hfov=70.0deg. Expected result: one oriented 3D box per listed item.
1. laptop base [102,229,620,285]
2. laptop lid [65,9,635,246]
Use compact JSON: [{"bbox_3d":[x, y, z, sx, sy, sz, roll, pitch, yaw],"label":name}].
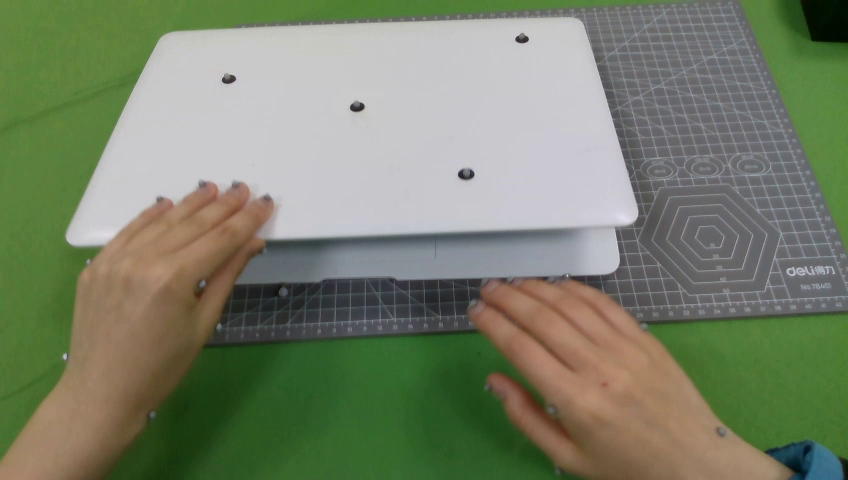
[{"bbox_3d":[-0.046,-0.075,0.463,0.354,0.023,0.233,-2,64,2],"label":"laptop base"},{"bbox_3d":[-0.047,-0.094,0.433,0.356,0.013,0.239,0,52,3],"label":"laptop lid"}]
